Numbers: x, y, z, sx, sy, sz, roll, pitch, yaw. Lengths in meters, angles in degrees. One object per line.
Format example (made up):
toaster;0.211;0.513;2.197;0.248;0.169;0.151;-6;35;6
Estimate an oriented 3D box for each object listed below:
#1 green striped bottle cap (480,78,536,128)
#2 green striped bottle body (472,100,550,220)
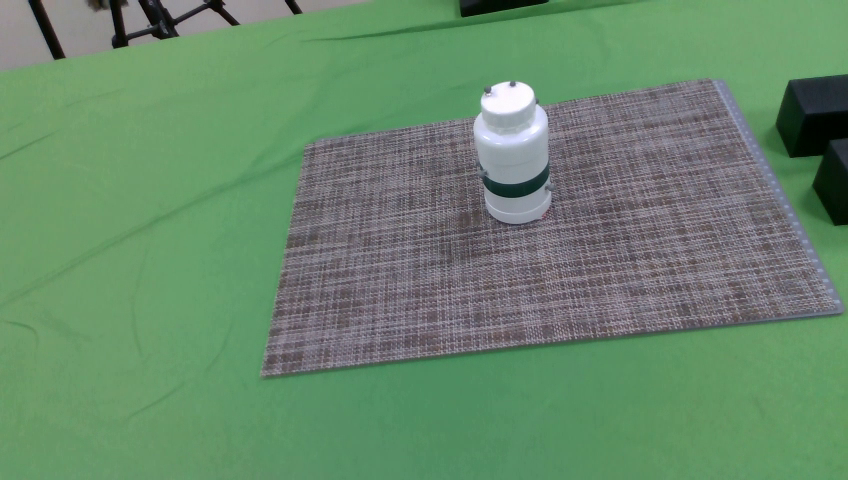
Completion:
green striped bottle cap;0.068;-0.112;0.492;0.044;0.020;0.044;-8;49;10
green striped bottle body;0.077;-0.079;0.532;0.063;0.120;0.062;-7;49;8
